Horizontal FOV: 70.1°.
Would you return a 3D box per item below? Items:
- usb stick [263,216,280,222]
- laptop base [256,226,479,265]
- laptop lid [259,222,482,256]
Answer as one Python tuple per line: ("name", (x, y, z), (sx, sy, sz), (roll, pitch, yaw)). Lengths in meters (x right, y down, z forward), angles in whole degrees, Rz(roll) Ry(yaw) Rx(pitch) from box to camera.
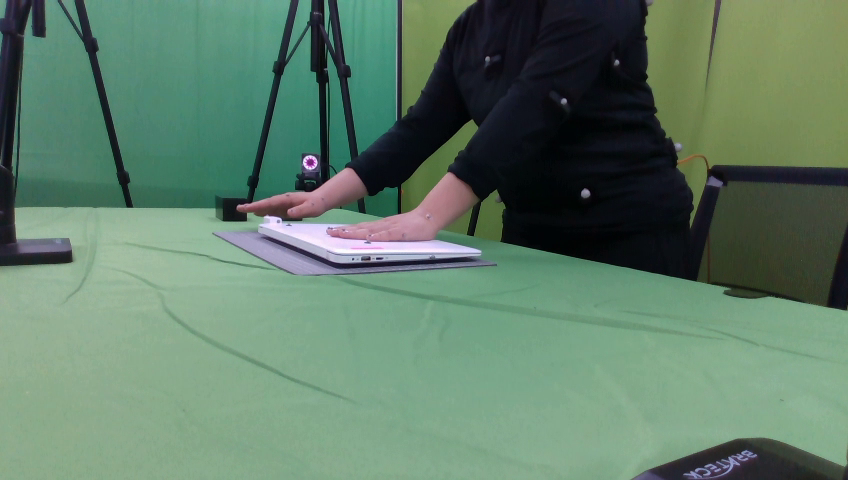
("usb stick", (-0.270, -0.027, 1.079), (0.021, 0.027, 0.059), (-6, 11, -28))
("laptop base", (-0.103, 0.007, 0.962), (0.237, 0.023, 0.352), (2, 6, -32))
("laptop lid", (-0.100, -0.004, 0.961), (0.243, 0.013, 0.355), (1, 7, -30))
